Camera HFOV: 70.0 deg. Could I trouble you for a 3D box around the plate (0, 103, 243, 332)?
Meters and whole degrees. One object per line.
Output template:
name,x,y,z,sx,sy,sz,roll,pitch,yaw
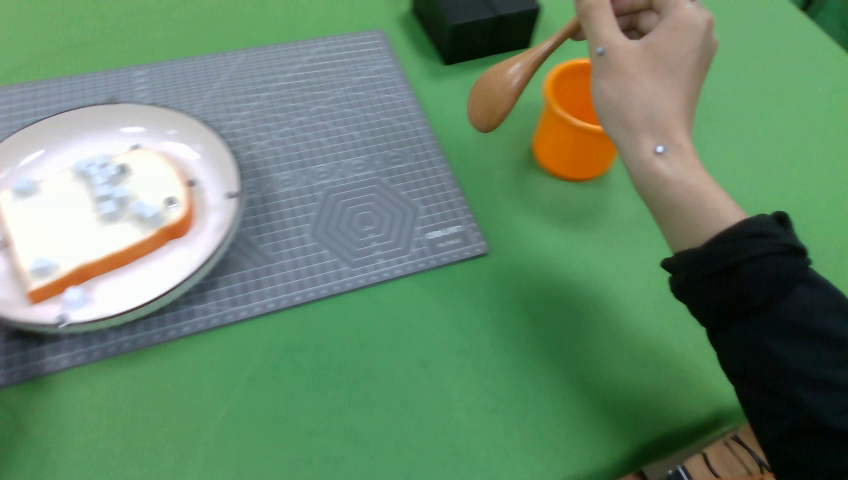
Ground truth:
plate,-0.244,-0.020,0.465,0.209,0.038,0.207,3,56,-5

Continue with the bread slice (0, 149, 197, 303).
bread slice,-0.248,-0.023,0.469,0.131,0.019,0.104,-29,64,-22

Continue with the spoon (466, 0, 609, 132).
spoon,0.094,-0.142,0.400,0.022,0.194,0.041,6,51,-51
